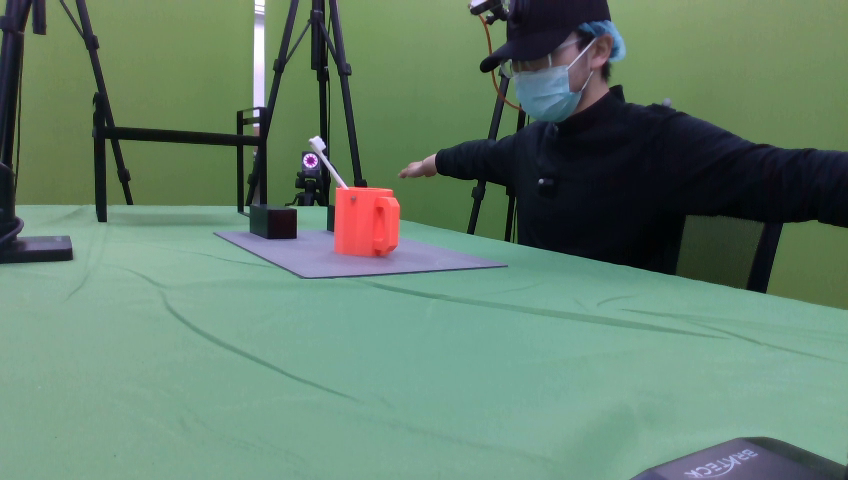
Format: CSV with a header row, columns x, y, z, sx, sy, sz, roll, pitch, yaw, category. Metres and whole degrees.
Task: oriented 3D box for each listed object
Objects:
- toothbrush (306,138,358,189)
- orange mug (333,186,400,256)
x,y,z,sx,sy,sz,roll,pitch,yaw,category
-0.107,-0.080,0.892,0.014,0.182,0.016,-39,12,18,toothbrush
-0.080,-0.029,0.888,0.084,0.100,0.125,-3,5,-40,orange mug
